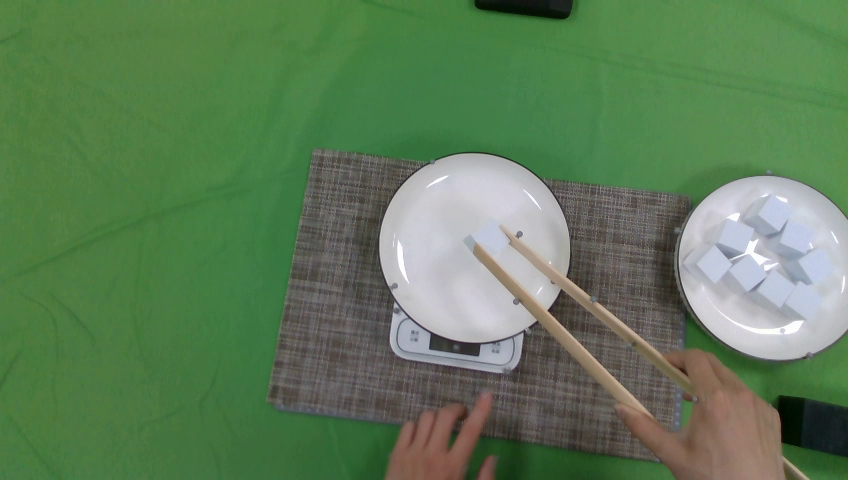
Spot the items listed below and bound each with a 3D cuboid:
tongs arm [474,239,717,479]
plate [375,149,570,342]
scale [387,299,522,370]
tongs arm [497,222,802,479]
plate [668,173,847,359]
[{"bbox_3d":[0.178,0.131,0.534,0.028,0.028,0.384,-35,67,-23],"label":"tongs arm"},{"bbox_3d":[0.052,0.005,0.657,0.209,0.038,0.208,0,80,1],"label":"plate"},{"bbox_3d":[0.043,0.039,0.686,0.148,0.031,0.200,8,81,3],"label":"scale"},{"bbox_3d":[0.195,0.118,0.541,0.382,0.027,0.050,41,67,20],"label":"tongs arm"},{"bbox_3d":[0.376,0.029,0.681,0.208,0.039,0.207,0,80,1],"label":"plate"}]
